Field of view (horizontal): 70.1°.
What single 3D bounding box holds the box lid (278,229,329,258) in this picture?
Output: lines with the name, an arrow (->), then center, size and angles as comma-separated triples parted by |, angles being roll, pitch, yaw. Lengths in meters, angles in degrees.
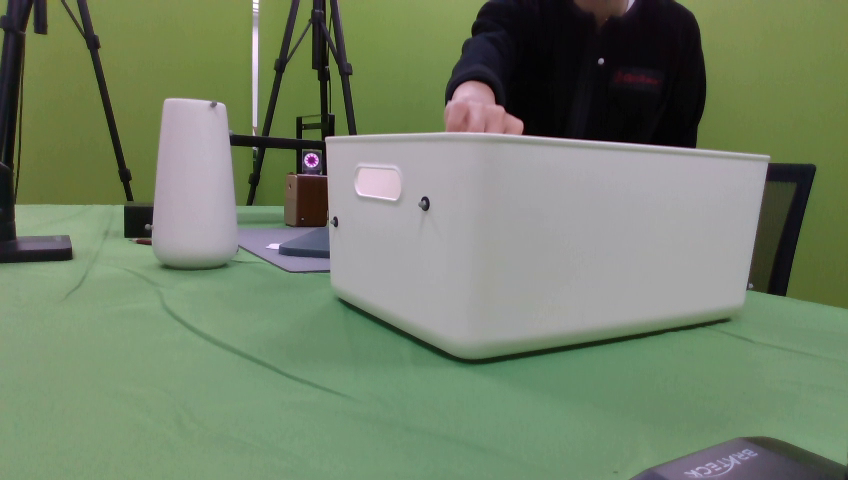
box lid -> -0.019, 0.012, 0.950 | 0.371, 0.015, 0.263 | 4, 7, 4

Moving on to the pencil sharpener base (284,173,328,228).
pencil sharpener base -> -0.239, -0.081, 1.231 | 0.077, 0.107, 0.061 | -2, 8, -36

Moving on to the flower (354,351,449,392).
flower -> 0.104, 0.076, 0.586 | 0.363, 0.044, 0.038 | -20, 39, -14

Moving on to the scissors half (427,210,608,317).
scissors half -> 0.078, 0.024, 0.527 | 0.175, 0.040, 0.013 | 26, -11, 12

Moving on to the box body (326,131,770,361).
box body -> 0.112, -0.011, 0.583 | 0.366, 0.160, 0.253 | -2, 9, -32

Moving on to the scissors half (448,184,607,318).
scissors half -> 0.091, 0.009, 0.531 | 0.175, 0.040, 0.013 | 44, -12, 15

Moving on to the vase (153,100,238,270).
vase -> -0.278, -0.066, 0.736 | 0.098, 0.200, 0.098 | 2, 9, 0

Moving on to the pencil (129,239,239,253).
pencil -> -0.350, 0.007, 0.874 | 0.193, 0.012, 0.012 | 4, 8, 18
